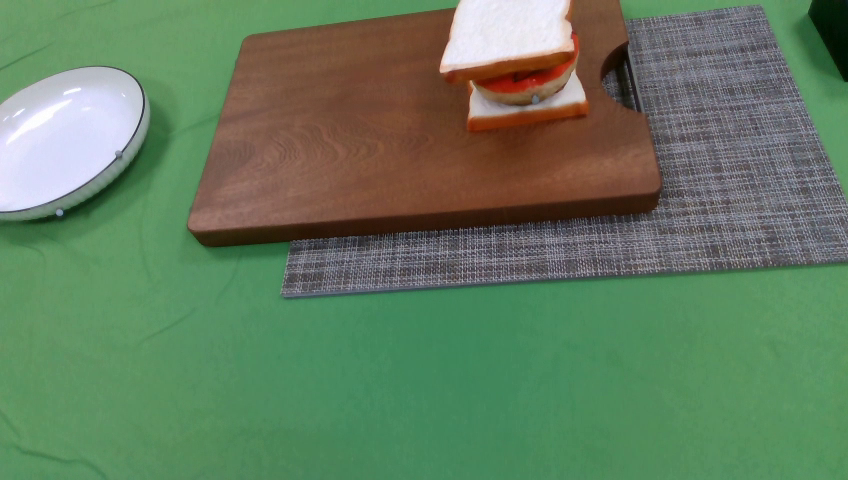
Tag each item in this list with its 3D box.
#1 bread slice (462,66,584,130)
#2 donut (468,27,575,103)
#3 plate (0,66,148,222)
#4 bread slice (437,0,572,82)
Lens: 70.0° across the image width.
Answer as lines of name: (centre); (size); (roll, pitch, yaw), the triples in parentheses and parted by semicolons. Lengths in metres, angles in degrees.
bread slice: (0.083, -0.158, 0.560); (0.105, 0.019, 0.130); (-7, 56, 6)
donut: (0.081, -0.162, 0.526); (0.099, 0.049, 0.098); (-6, 56, 10)
plate: (-0.387, -0.100, 0.639); (0.209, 0.038, 0.207); (-5, 56, 8)
bread slice: (0.069, -0.186, 0.509); (0.106, 0.018, 0.133); (-6, 52, 19)
